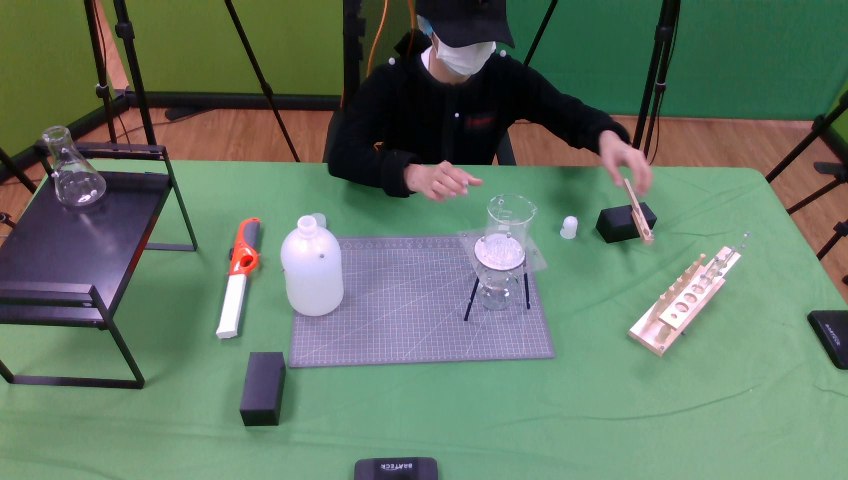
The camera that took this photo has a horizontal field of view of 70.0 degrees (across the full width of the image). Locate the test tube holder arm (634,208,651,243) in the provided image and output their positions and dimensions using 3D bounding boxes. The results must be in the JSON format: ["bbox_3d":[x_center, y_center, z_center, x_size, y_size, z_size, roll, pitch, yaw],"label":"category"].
[{"bbox_3d":[0.428,-0.030,1.189,0.010,0.015,0.087,1,47,-2],"label":"test tube holder arm"}]

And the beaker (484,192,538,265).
[{"bbox_3d":[0.137,-0.016,0.980,0.084,0.101,0.073,-6,45,-9],"label":"beaker"}]

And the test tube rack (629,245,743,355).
[{"bbox_3d":[0.474,0.095,1.091,0.242,0.085,0.066,-34,56,-31],"label":"test tube rack"}]

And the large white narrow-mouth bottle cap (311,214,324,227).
[{"bbox_3d":[-0.220,-0.033,1.214,0.038,0.024,0.037,2,46,-2],"label":"large white narrow-mouth bottle cap"}]

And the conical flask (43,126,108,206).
[{"bbox_3d":[-0.555,-0.119,0.953,0.075,0.122,0.075,2,46,-2],"label":"conical flask"}]

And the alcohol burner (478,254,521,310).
[{"bbox_3d":[0.134,0.068,1.071,0.078,0.120,0.077,0,47,0],"label":"alcohol burner"}]

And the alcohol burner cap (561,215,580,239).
[{"bbox_3d":[0.299,-0.030,1.231,0.034,0.048,0.033,0,46,0],"label":"alcohol burner cap"}]

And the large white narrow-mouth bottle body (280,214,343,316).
[{"bbox_3d":[-0.190,0.035,1.025,0.102,0.195,0.101,2,46,-2],"label":"large white narrow-mouth bottle body"}]

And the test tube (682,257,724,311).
[{"bbox_3d":[0.475,0.080,1.037,0.017,0.151,0.017,2,51,-2],"label":"test tube"}]

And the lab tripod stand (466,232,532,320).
[{"bbox_3d":[0.125,0.059,1.065,0.148,0.132,0.147,1,45,0],"label":"lab tripod stand"}]

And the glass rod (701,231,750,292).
[{"bbox_3d":[0.519,0.045,1.050,0.008,0.201,0.008,0,55,0],"label":"glass rod"}]

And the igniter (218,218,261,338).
[{"bbox_3d":[-0.336,0.060,1.111,0.057,0.025,0.274,-8,46,4],"label":"igniter"}]

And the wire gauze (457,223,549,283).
[{"bbox_3d":[0.131,0.016,1.017,0.121,0.011,0.124,-10,44,-15],"label":"wire gauze"}]

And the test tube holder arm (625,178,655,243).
[{"bbox_3d":[0.433,-0.062,1.220,0.013,0.015,0.177,1,47,-2],"label":"test tube holder arm"}]
